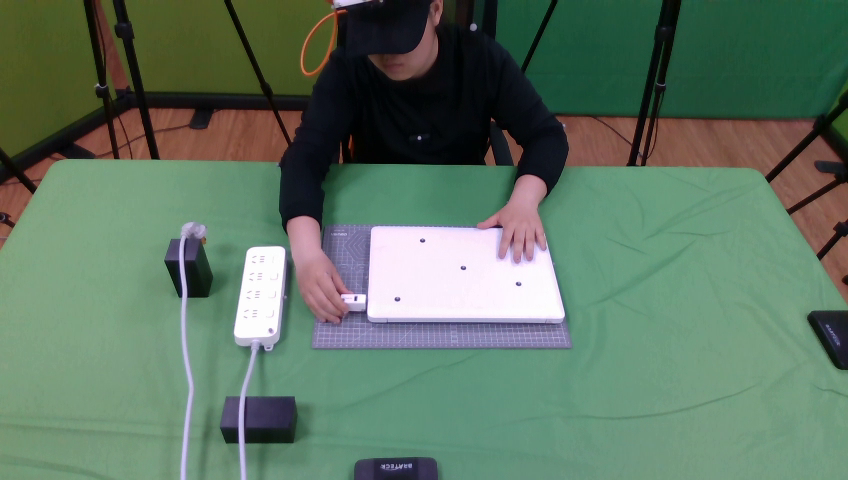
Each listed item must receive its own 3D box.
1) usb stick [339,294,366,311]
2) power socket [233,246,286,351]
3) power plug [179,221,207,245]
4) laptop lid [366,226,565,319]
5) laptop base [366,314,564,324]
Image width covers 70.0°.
[{"bbox_3d":[-0.119,0.110,1.067,0.059,0.027,0.021,5,51,-6],"label":"usb stick"},{"bbox_3d":[-0.289,0.095,1.077,0.072,0.033,0.225,-2,47,-5],"label":"power socket"},{"bbox_3d":[-0.412,-0.002,1.070,0.035,0.053,0.072,-2,42,23],"label":"power plug"},{"bbox_3d":[0.072,0.055,1.137,0.357,0.013,0.240,2,44,-3],"label":"laptop lid"},{"bbox_3d":[0.071,0.065,1.144,0.355,0.023,0.234,1,43,-4],"label":"laptop base"}]
